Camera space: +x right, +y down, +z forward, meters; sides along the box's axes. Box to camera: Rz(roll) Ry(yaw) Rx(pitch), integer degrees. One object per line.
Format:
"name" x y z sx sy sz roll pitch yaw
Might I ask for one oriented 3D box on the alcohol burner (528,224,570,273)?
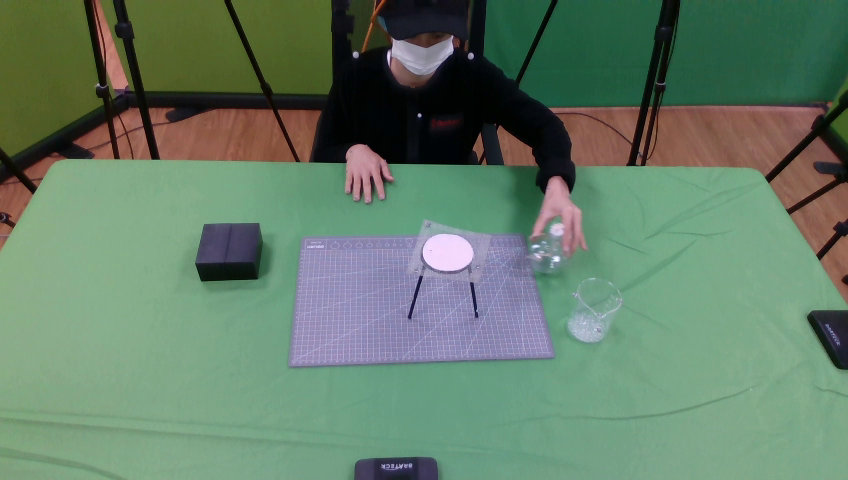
"alcohol burner" 0.231 0.008 1.104 0.078 0.119 0.077 1 55 -2

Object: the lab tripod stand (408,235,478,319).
"lab tripod stand" 0.032 0.065 1.057 0.148 0.132 0.147 1 45 -1

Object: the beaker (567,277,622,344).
"beaker" 0.291 0.127 1.045 0.074 0.101 0.083 7 47 4

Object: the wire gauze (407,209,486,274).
"wire gauze" 0.036 0.003 1.001 0.125 0.011 0.120 -7 52 -1

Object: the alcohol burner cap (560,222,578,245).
"alcohol burner cap" 0.295 -0.016 1.224 0.034 0.048 0.033 2 46 -2
